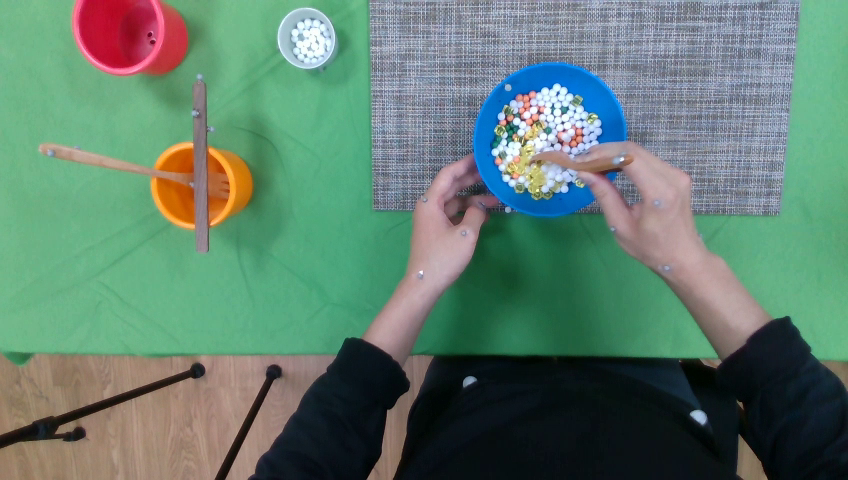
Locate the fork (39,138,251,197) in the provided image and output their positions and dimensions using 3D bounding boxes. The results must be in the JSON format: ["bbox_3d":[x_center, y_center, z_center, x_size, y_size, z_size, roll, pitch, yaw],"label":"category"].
[{"bbox_3d":[-0.281,-0.075,0.632,0.209,0.018,0.028,11,107,-42],"label":"fork"}]

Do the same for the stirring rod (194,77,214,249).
[{"bbox_3d":[-0.227,-0.077,0.626,0.014,0.006,0.176,2,100,5],"label":"stirring rod"}]

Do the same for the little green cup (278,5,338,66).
[{"bbox_3d":[-0.122,-0.217,0.652,0.061,0.038,0.062,1,100,5],"label":"little green cup"}]

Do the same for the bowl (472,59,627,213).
[{"bbox_3d":[0.125,-0.107,0.631,0.151,0.076,0.152,1,100,4],"label":"bowl"}]

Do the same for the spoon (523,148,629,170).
[{"bbox_3d":[0.136,-0.072,0.549,0.042,0.192,0.022,5,99,-11],"label":"spoon"}]
